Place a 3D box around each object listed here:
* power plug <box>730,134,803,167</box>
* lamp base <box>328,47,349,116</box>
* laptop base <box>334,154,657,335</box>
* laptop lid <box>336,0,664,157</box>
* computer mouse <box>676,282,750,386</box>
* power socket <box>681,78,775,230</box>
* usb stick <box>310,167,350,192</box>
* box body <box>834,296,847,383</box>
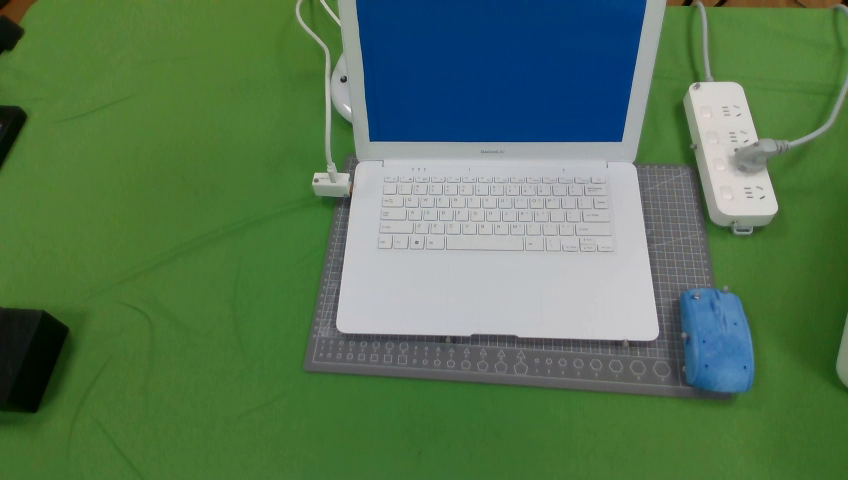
[{"bbox_3d":[0.403,-0.100,0.720,0.072,0.053,0.035,10,60,7],"label":"power plug"},{"bbox_3d":[-0.065,-0.271,0.783,0.160,0.182,0.177,-32,61,-14],"label":"lamp base"},{"bbox_3d":[0.080,0.000,0.717,0.354,0.023,0.233,1,64,4],"label":"laptop base"},{"bbox_3d":[0.082,-0.196,0.701,0.356,0.244,0.013,-1,37,4],"label":"laptop lid"},{"bbox_3d":[0.304,0.095,0.637,0.062,0.041,0.116,5,57,8],"label":"computer mouse"},{"bbox_3d":[0.376,-0.117,0.757,0.072,0.033,0.225,1,61,2],"label":"power socket"},{"bbox_3d":[-0.110,-0.075,0.754,0.059,0.027,0.021,5,56,3],"label":"usb stick"},{"bbox_3d":[0.594,0.019,0.594,0.253,0.162,0.362,25,65,16],"label":"box body"}]
